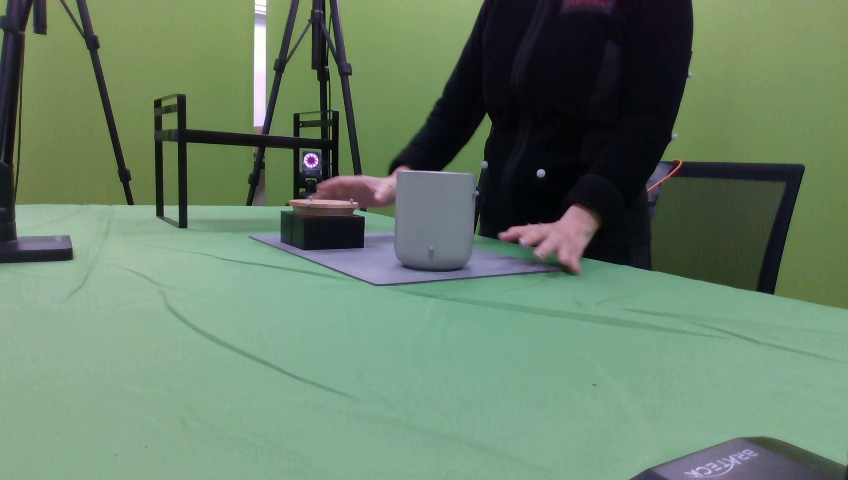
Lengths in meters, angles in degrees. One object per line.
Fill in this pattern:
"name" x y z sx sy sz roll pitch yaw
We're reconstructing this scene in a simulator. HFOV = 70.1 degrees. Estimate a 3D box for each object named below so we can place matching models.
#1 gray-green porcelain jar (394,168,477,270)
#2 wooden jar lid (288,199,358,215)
"gray-green porcelain jar" 0.014 -0.029 0.793 0.106 0.126 0.106 2 7 0
"wooden jar lid" -0.158 -0.053 0.950 0.108 0.020 0.108 3 8 0
